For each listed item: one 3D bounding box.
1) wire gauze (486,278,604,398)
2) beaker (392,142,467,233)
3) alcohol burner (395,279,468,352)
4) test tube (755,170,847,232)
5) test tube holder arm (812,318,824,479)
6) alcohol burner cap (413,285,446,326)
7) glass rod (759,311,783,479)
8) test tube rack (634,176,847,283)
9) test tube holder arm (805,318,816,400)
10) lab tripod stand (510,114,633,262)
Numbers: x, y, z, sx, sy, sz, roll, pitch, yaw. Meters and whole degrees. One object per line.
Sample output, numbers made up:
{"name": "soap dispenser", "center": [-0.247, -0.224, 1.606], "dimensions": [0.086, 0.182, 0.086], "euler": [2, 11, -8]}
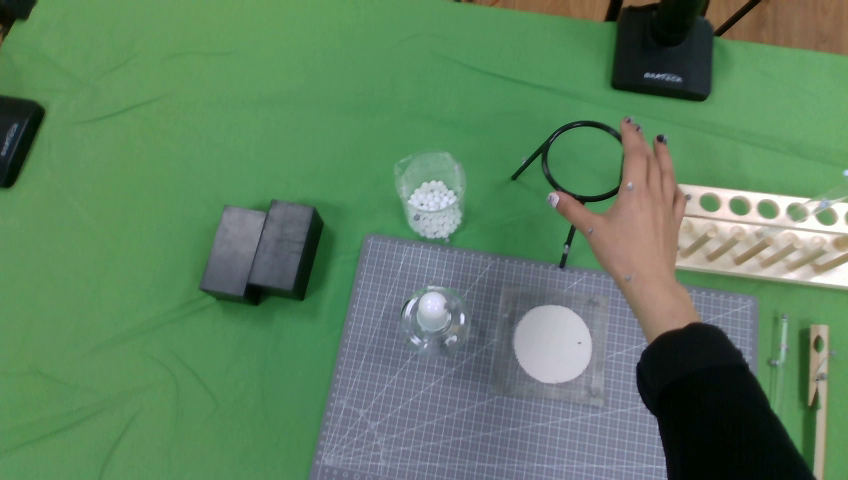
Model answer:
{"name": "wire gauze", "center": [0.135, 0.107, 0.667], "dimensions": [0.121, 0.011, 0.124], "euler": [7, 77, 4]}
{"name": "beaker", "center": [0.005, -0.055, 0.676], "dimensions": [0.083, 0.101, 0.074], "euler": [27, 75, 11]}
{"name": "alcohol burner", "center": [0.007, 0.074, 0.626], "dimensions": [0.078, 0.120, 0.077], "euler": [-1, 71, 3]}
{"name": "test tube", "center": [0.383, -0.036, 0.612], "dimensions": [0.017, 0.151, 0.017], "euler": [1, 73, -3]}
{"name": "test tube holder arm", "center": [0.411, 0.169, 0.633], "dimensions": [0.013, 0.015, 0.177], "euler": [-4, 69, 39]}
{"name": "alcohol burner cap", "center": [0.006, 0.061, 0.592], "dimensions": [0.034, 0.048, 0.033], "euler": [1, 64, -2]}
{"name": "glass rod", "center": [0.367, 0.171, 0.641], "dimensions": [0.008, 0.008, 0.199], "euler": [13, 77, 6]}
{"name": "test tube rack", "center": [0.363, -0.009, 0.656], "dimensions": [0.242, 0.085, 0.066], "euler": [7, 73, 5]}
{"name": "test tube holder arm", "center": [0.415, 0.127, 0.649], "dimensions": [0.010, 0.015, 0.087], "euler": [-3, 69, 39]}
{"name": "lab tripod stand", "center": [0.159, -0.065, 0.655], "dimensions": [0.148, 0.132, 0.147], "euler": [-1, 72, 4]}
